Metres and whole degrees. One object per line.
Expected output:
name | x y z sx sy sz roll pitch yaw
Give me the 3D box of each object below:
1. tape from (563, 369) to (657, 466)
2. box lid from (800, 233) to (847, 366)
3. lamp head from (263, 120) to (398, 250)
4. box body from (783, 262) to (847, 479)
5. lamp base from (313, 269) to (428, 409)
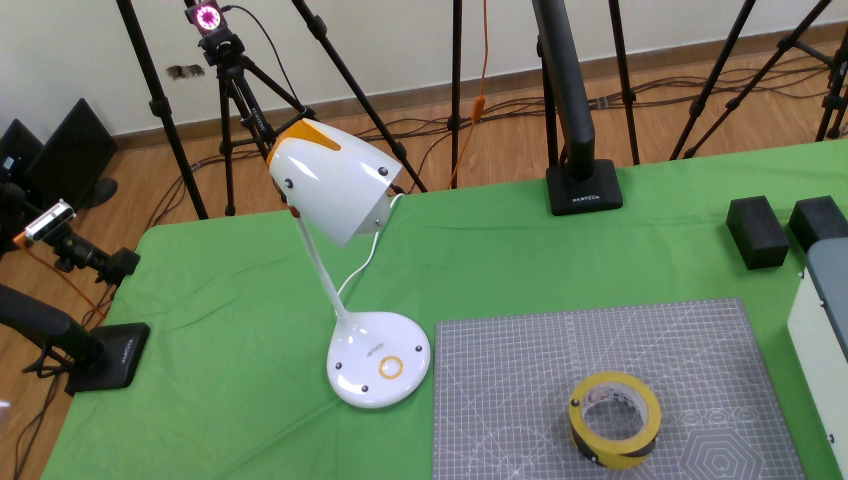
tape | 0.239 0.226 0.778 0.117 0.053 0.115 -7 49 8
box lid | 0.574 0.125 0.608 0.263 0.015 0.368 -5 49 10
lamp head | -0.106 -0.064 0.635 0.123 0.113 0.112 33 59 -4
box body | 0.587 0.174 0.662 0.254 0.162 0.360 -6 49 10
lamp base | -0.098 0.127 0.867 0.177 0.182 0.160 27 61 35
